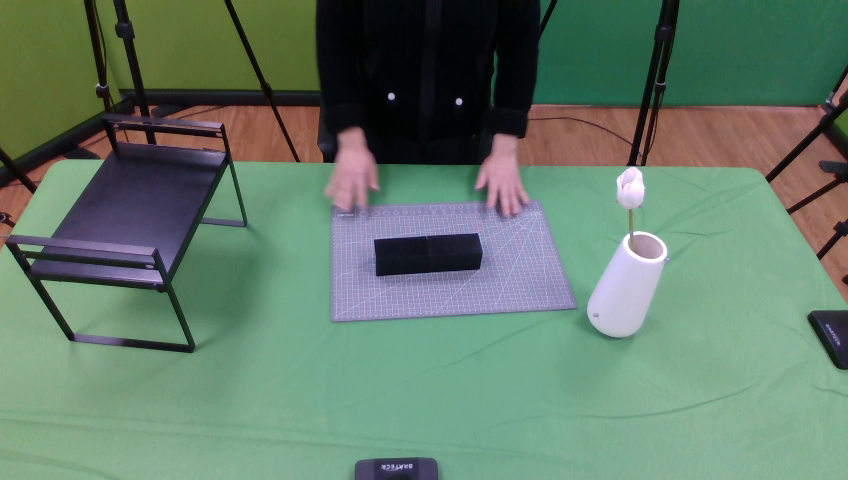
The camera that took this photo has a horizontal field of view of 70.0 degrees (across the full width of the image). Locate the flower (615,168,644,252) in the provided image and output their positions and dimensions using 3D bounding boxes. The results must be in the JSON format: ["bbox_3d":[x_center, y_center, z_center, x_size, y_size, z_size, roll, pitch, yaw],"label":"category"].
[{"bbox_3d":[0.330,0.024,0.959,0.038,0.364,0.044,-5,51,17],"label":"flower"}]

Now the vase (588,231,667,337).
[{"bbox_3d":[0.343,0.078,1.022,0.098,0.201,0.097,2,47,-2],"label":"vase"}]
